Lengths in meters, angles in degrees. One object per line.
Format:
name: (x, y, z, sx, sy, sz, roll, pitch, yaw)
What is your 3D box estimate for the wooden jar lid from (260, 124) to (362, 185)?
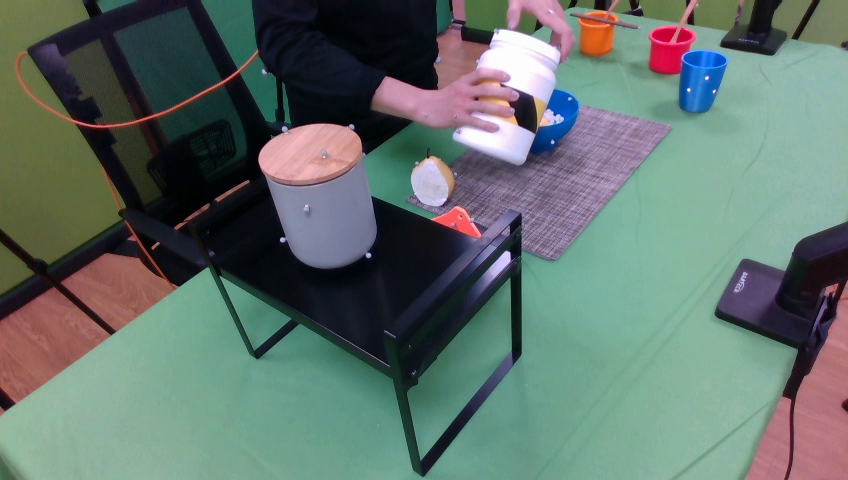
wooden jar lid: (-0.119, -0.088, 0.645, 0.108, 0.021, 0.108, -4, 40, 4)

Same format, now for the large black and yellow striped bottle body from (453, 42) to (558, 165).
large black and yellow striped bottle body: (0.137, -0.230, 0.991, 0.131, 0.184, 0.130, 20, 8, -2)

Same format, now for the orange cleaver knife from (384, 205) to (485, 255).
orange cleaver knife: (0.012, -0.010, 0.942, 0.012, 0.077, 0.210, -37, 19, -35)

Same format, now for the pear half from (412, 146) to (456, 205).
pear half: (0.019, -0.120, 1.042, 0.076, 0.110, 0.056, 11, 43, 16)

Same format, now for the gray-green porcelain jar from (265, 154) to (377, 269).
gray-green porcelain jar: (-0.112, -0.039, 0.685, 0.106, 0.127, 0.105, -4, 40, 4)

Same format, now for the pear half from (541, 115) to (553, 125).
pear half: (0.212, -0.227, 1.152, 0.088, 0.031, 0.070, 7, 44, 10)

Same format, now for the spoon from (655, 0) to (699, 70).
spoon: (0.567, -0.463, 1.337, 0.041, 0.022, 0.193, 30, 96, 38)

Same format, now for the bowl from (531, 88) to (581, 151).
bowl: (0.221, -0.223, 1.155, 0.151, 0.077, 0.150, -4, 40, 4)

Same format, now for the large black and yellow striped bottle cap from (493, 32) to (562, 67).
large black and yellow striped bottle cap: (0.168, -0.307, 0.980, 0.115, 0.019, 0.115, 19, 8, -2)

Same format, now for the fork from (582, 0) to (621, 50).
fork: (0.446, -0.539, 1.438, 0.207, 0.019, 0.028, -57, 36, 12)

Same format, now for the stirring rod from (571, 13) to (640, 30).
stirring rod: (0.419, -0.508, 1.404, 0.174, 0.006, 0.014, 28, 55, 35)

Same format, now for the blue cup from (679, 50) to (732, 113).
blue cup: (0.546, -0.309, 1.193, 0.092, 0.100, 0.092, -4, 39, 4)
